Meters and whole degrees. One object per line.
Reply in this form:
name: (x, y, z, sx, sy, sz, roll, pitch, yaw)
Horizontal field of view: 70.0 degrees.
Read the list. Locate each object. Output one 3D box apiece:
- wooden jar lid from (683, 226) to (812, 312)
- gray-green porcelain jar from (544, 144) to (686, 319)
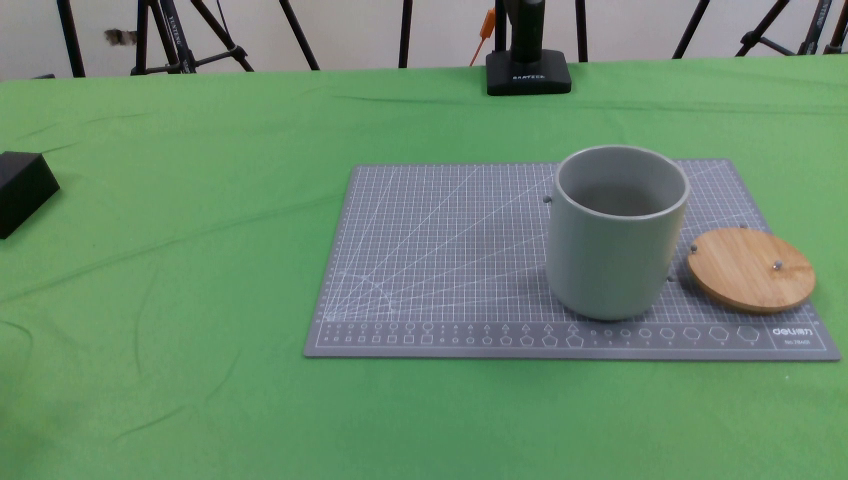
wooden jar lid: (0.297, 0.028, 0.562, 0.108, 0.021, 0.107, -3, 40, 3)
gray-green porcelain jar: (0.159, -0.002, 0.527, 0.106, 0.128, 0.105, -3, 41, 3)
